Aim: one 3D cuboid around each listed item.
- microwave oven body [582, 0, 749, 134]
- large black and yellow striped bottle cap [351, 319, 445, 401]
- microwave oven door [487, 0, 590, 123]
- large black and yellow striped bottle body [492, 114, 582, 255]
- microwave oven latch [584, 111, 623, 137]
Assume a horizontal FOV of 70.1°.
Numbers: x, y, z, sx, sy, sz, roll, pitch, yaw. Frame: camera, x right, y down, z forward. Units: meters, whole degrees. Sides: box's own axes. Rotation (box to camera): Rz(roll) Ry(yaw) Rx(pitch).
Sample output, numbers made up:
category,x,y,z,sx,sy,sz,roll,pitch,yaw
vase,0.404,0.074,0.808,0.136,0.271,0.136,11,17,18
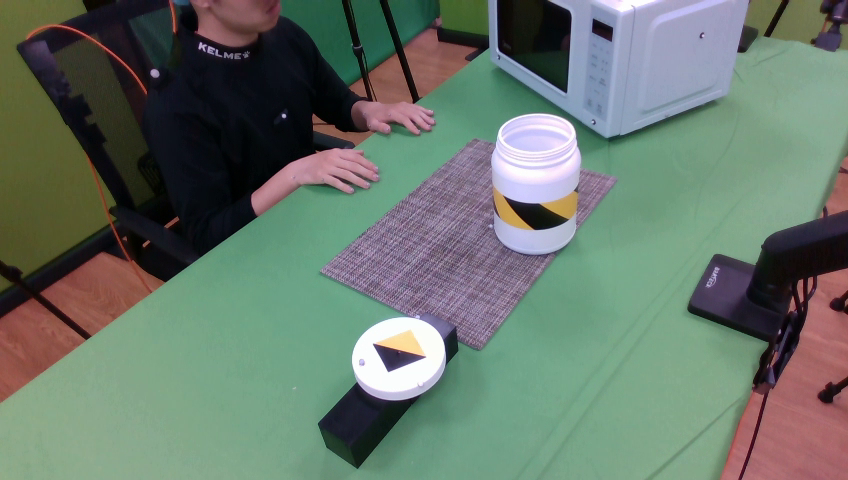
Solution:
category,x,y,z,sx,sy,sz,roll,pitch,yaw
microwave oven body,0.382,-0.444,1.246,0.327,0.261,0.437,-22,42,-16
large black and yellow striped bottle cap,-0.031,0.143,0.735,0.115,0.019,0.114,-3,40,3
microwave oven door,0.232,-0.420,1.230,0.039,0.245,0.352,-22,43,-16
large black and yellow striped bottle body,0.169,-0.083,0.912,0.131,0.185,0.130,-4,41,4
microwave oven latch,0.337,-0.222,1.142,0.030,0.029,0.078,-21,42,-14
